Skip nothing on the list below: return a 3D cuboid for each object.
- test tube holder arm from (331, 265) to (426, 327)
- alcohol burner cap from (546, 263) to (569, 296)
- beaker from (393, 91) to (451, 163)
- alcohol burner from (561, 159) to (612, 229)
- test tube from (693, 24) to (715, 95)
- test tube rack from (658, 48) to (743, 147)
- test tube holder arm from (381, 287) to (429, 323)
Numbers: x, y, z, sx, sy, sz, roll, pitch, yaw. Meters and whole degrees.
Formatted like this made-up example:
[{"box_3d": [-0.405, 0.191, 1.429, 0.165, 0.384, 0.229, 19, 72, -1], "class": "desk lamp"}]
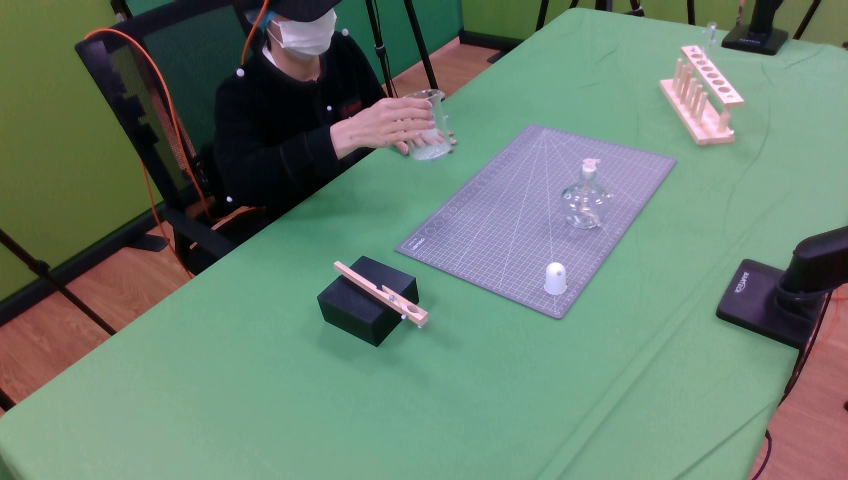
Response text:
[{"box_3d": [-0.066, 0.074, 0.828, 0.177, 0.015, 0.013, 25, 42, 33], "class": "test tube holder arm"}, {"box_3d": [0.191, 0.053, 0.862, 0.034, 0.048, 0.033, -5, 40, 4], "class": "alcohol burner cap"}, {"box_3d": [0.002, -0.184, 0.983, 0.084, 0.100, 0.073, -13, 24, 5], "class": "beaker"}, {"box_3d": [0.257, -0.077, 0.951, 0.078, 0.119, 0.077, -3, 40, 3], "class": "alcohol burner"}, {"box_3d": [0.543, -0.347, 1.177, 0.017, 0.151, 0.017, -5, 45, 5], "class": "test tube"}, {"box_3d": [0.532, -0.284, 1.181, 0.067, 0.085, 0.241, -5, 40, 4], "class": "test tube rack"}, {"box_3d": [-0.028, 0.087, 0.807, 0.087, 0.015, 0.010, 25, 42, 33], "class": "test tube holder arm"}]
